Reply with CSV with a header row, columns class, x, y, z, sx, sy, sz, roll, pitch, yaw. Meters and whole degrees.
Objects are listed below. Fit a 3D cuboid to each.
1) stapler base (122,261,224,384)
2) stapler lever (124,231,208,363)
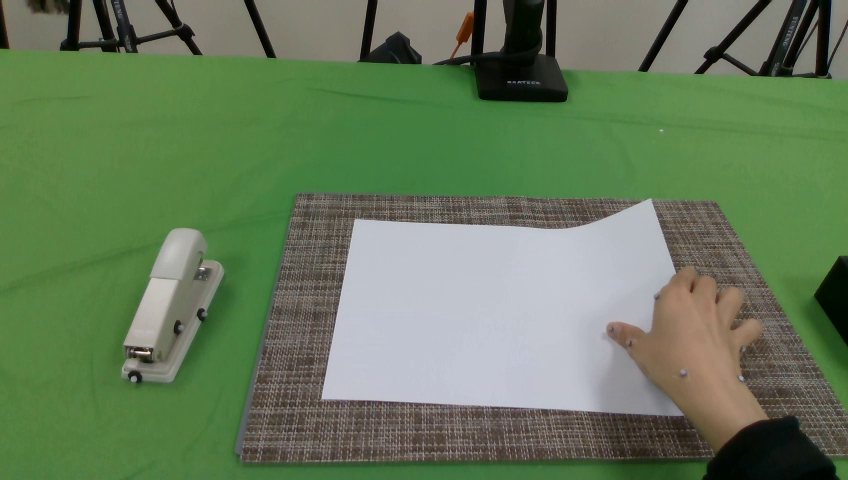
class,x,y,z,sx,sy,sz,roll,pitch,yaw
stapler base,-0.204,0.058,0.498,0.041,0.024,0.129,4,43,3
stapler lever,-0.203,0.040,0.479,0.027,0.040,0.117,4,43,3
